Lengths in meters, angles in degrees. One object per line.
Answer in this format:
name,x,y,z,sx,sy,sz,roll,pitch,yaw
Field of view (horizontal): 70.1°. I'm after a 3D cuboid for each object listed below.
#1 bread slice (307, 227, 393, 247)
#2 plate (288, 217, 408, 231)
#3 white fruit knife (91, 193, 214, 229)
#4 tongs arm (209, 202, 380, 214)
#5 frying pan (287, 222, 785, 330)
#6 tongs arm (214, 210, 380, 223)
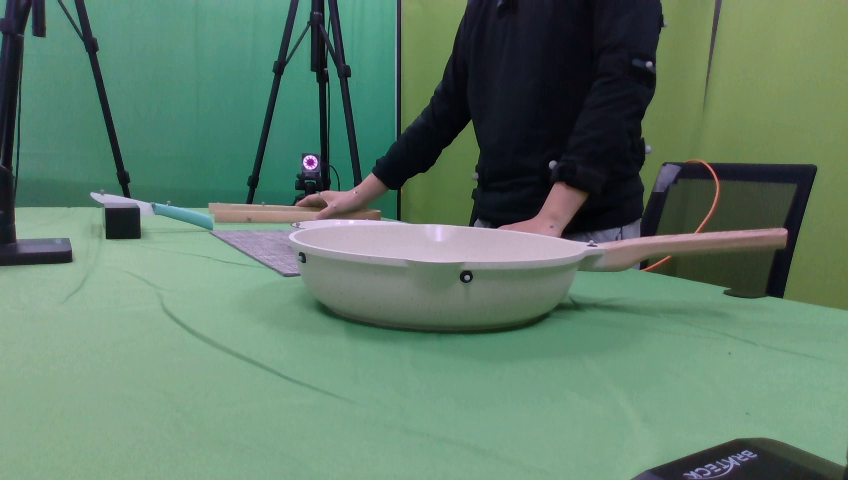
bread slice,-0.115,-0.005,0.950,0.134,0.018,0.107,3,6,-7
plate,-0.109,-0.007,0.956,0.208,0.039,0.207,2,7,0
white fruit knife,-0.478,-0.055,1.077,0.208,0.027,0.016,14,-1,-30
tongs arm,-0.293,-0.066,1.403,0.386,0.026,0.050,1,9,-22
frying pan,0.114,0.016,0.607,0.488,0.102,0.307,-6,8,3
tongs arm,-0.264,-0.053,1.339,0.390,0.028,0.028,-2,6,-32
